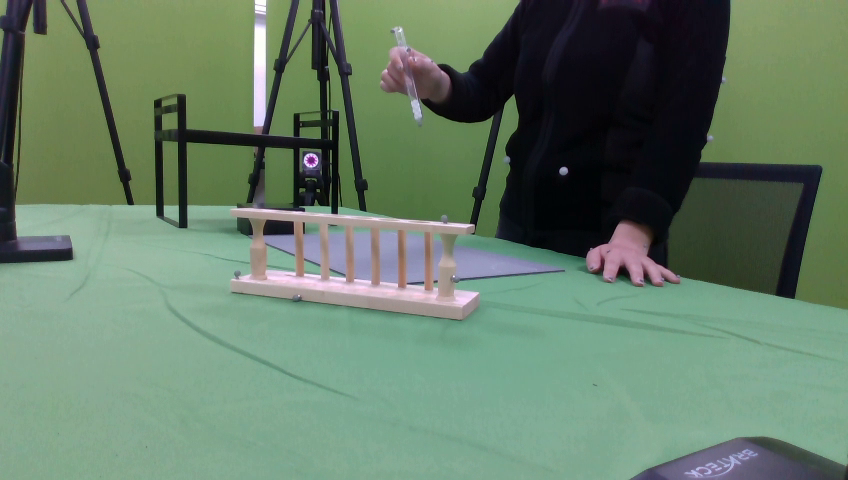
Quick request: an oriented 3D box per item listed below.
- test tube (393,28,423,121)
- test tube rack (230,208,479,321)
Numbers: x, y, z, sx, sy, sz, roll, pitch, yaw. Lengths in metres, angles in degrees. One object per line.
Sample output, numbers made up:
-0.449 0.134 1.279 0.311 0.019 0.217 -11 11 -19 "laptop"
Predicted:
-0.025 -0.258 0.945 0.017 0.150 0.017 -13 -2 0 "test tube"
-0.069 0.018 0.598 0.242 0.085 0.067 5 8 18 "test tube rack"
